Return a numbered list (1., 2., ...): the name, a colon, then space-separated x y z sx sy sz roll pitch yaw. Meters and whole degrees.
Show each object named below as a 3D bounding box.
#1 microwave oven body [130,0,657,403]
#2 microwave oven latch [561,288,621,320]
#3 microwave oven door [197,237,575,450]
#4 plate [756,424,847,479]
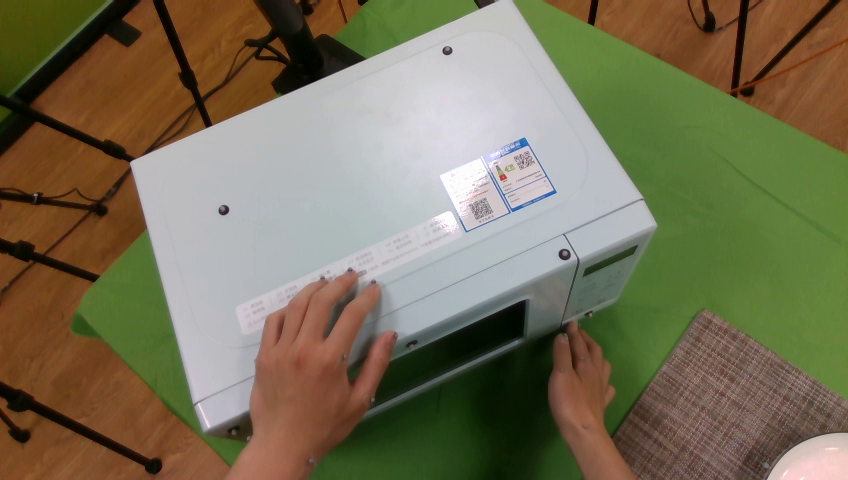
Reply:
1. microwave oven body: -0.036 -0.017 0.694 0.442 0.262 0.323 -25 67 -2
2. microwave oven latch: 0.197 0.068 0.734 0.079 0.030 0.030 -23 67 -1
3. microwave oven door: -0.017 0.120 0.632 0.356 0.246 0.039 -25 66 -3
4. plate: 0.444 0.298 0.623 0.207 0.039 0.206 -3 68 7
